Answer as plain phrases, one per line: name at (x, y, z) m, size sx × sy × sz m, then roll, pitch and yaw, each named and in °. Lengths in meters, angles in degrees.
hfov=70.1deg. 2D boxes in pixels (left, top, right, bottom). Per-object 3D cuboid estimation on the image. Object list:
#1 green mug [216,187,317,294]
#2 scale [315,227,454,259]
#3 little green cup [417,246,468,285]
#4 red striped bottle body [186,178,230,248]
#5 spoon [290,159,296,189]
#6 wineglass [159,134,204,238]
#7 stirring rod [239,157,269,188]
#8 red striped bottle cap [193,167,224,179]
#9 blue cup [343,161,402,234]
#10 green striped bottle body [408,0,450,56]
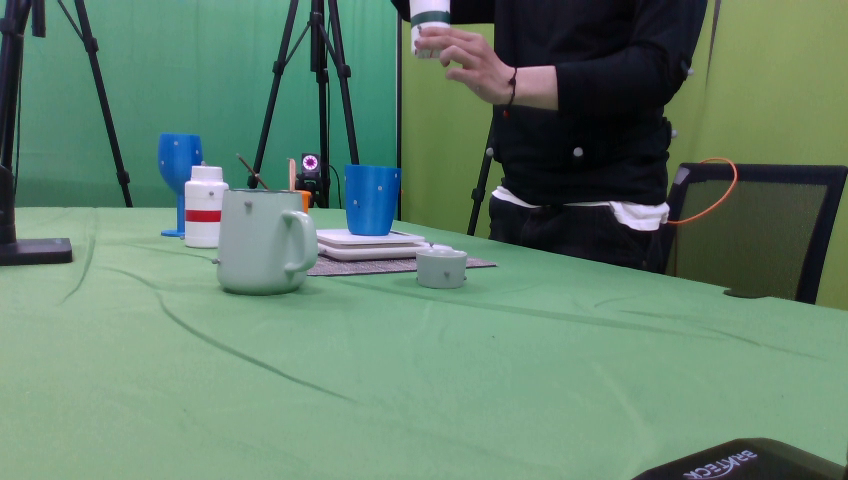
green mug at (-0.157, 0.000, 0.629) m, size 0.124 × 0.105 × 0.093 m, roll 7°, pitch 9°, yaw 37°
scale at (-0.066, 0.001, 0.906) m, size 0.202 × 0.031 × 0.148 m, roll -2°, pitch 8°, yaw -31°
little green cup at (0.021, 0.029, 0.701) m, size 0.061 × 0.038 × 0.061 m, roll 1°, pitch 6°, yaw 0°
red striped bottle body at (-0.331, -0.050, 0.927) m, size 0.063 × 0.119 × 0.063 m, roll 2°, pitch 6°, yaw 0°
spoon at (-0.273, -0.102, 1.252) m, size 0.042 × 0.193 × 0.021 m, roll 7°, pitch -38°, yaw -17°
wineglass at (-0.416, -0.093, 1.040) m, size 0.074 × 0.172 × 0.073 m, roll 2°, pitch 7°, yaw 0°
stirring rod at (-0.309, -0.098, 1.209) m, size 0.006 × 0.177 × 0.014 m, roll -39°, pitch 29°, yaw -4°
red striped bottle cap at (-0.329, -0.103, 0.921) m, size 0.044 × 0.017 × 0.044 m, roll 0°, pitch 9°, yaw 0°
blue cup at (-0.078, -0.062, 0.884) m, size 0.093 × 0.100 × 0.092 m, roll 4°, pitch 6°, yaw 0°
green striped bottle body at (0.007, -0.353, 0.941) m, size 0.063 × 0.119 × 0.063 m, roll -2°, pitch 1°, yaw 0°
